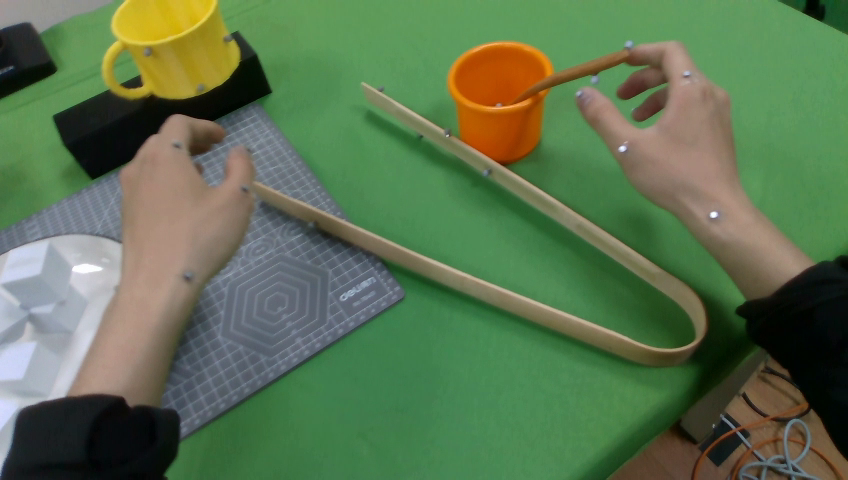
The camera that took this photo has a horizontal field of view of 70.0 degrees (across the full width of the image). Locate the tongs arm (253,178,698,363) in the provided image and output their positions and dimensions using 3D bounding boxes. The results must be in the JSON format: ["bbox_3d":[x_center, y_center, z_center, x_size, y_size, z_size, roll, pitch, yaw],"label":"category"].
[{"bbox_3d":[0.017,0.017,0.487,0.385,0.028,0.028,21,57,20],"label":"tongs arm"}]

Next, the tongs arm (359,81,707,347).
[{"bbox_3d":[0.066,-0.040,0.518,0.381,0.027,0.050,34,65,25],"label":"tongs arm"}]

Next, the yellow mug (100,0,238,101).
[{"bbox_3d":[-0.250,-0.183,0.581,0.099,0.064,0.130,33,66,27],"label":"yellow mug"}]

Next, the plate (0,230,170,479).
[{"bbox_3d":[-0.298,0.086,0.474,0.207,0.039,0.205,-4,55,5],"label":"plate"}]

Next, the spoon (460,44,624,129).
[{"bbox_3d":[0.089,-0.125,0.503,0.041,0.193,0.022,-42,102,-26],"label":"spoon"}]
